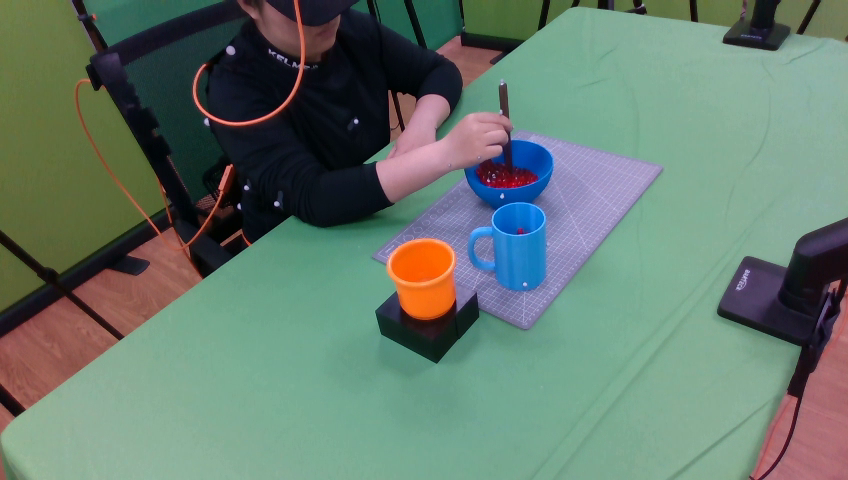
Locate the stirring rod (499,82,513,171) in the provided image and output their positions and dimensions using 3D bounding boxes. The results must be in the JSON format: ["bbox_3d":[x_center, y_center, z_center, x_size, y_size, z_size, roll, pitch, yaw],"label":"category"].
[{"bbox_3d":[0.135,-0.182,0.992,0.014,0.177,0.005,-28,48,-14],"label":"stirring rod"}]

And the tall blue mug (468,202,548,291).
[{"bbox_3d":[0.125,0.015,0.869,0.107,0.108,0.077,-21,42,-14],"label":"tall blue mug"}]

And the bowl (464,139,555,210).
[{"bbox_3d":[0.145,-0.100,1.025,0.151,0.077,0.150,-5,40,5],"label":"bowl"}]
